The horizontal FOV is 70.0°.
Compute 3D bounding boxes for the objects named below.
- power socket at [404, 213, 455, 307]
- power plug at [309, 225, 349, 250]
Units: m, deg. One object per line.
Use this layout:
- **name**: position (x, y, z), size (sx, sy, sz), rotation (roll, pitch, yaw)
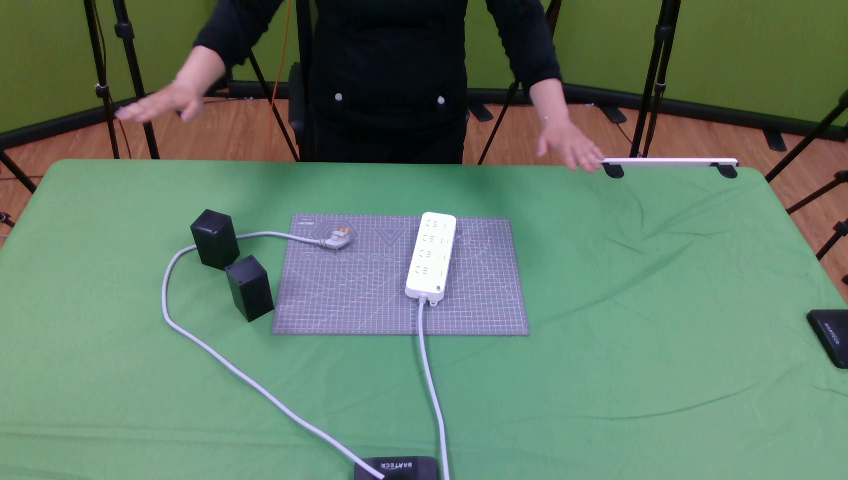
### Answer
- **power socket**: position (0.013, 0.029, 1.159), size (0.072, 0.033, 0.225), rotation (8, 46, 5)
- **power plug**: position (-0.182, -0.010, 1.175), size (0.072, 0.035, 0.052), rotation (20, 65, 0)
